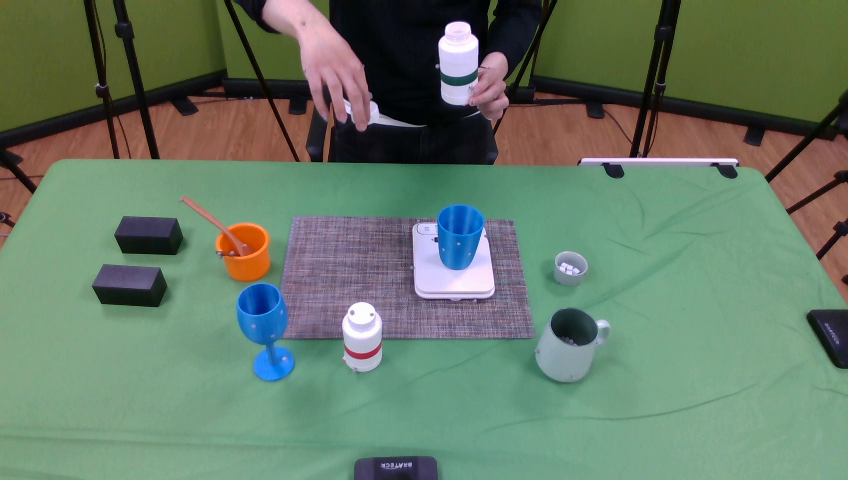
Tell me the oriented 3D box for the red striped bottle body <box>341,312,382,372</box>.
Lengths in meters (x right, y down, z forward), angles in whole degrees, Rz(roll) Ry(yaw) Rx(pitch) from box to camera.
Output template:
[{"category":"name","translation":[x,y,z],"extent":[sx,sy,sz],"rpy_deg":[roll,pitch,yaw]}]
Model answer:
[{"category":"red striped bottle body","translation":[-0.100,0.154,0.972],"extent":[0.063,0.120,0.062],"rpy_deg":[2,46,-1]}]

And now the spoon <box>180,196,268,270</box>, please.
[{"category":"spoon","translation":[-0.360,-0.014,1.094],"extent":[0.021,0.194,0.041],"rpy_deg":[-27,26,31]}]

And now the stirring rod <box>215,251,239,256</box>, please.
[{"category":"stirring rod","translation":[-0.339,0.024,1.059],"extent":[0.014,0.176,0.006],"rpy_deg":[16,86,-6]}]

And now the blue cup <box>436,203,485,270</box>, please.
[{"category":"blue cup","translation":[0.061,-0.001,1.098],"extent":[0.093,0.101,0.092],"rpy_deg":[2,44,-2]}]

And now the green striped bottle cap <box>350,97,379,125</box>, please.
[{"category":"green striped bottle cap","translation":[-0.092,-0.201,0.943],"extent":[0.044,0.020,0.044],"rpy_deg":[-2,57,3]}]

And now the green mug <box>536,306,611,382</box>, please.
[{"category":"green mug","translation":[0.250,0.167,0.996],"extent":[0.125,0.105,0.092],"rpy_deg":[-15,48,-18]}]

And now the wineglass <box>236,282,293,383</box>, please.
[{"category":"wineglass","translation":[-0.243,0.143,0.934],"extent":[0.074,0.173,0.073],"rpy_deg":[2,46,-2]}]

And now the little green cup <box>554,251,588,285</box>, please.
[{"category":"little green cup","translation":[0.277,0.055,1.152],"extent":[0.061,0.039,0.061],"rpy_deg":[1,45,-1]}]

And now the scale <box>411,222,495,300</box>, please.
[{"category":"scale","translation":[0.052,0.031,1.158],"extent":[0.149,0.032,0.199],"rpy_deg":[1,46,-4]}]

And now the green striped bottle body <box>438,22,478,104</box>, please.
[{"category":"green striped bottle body","translation":[0.055,-0.285,0.972],"extent":[0.063,0.120,0.063],"rpy_deg":[-2,46,3]}]

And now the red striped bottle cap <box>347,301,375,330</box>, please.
[{"category":"red striped bottle cap","translation":[-0.097,0.116,0.934],"extent":[0.044,0.018,0.044],"rpy_deg":[3,49,-3]}]
